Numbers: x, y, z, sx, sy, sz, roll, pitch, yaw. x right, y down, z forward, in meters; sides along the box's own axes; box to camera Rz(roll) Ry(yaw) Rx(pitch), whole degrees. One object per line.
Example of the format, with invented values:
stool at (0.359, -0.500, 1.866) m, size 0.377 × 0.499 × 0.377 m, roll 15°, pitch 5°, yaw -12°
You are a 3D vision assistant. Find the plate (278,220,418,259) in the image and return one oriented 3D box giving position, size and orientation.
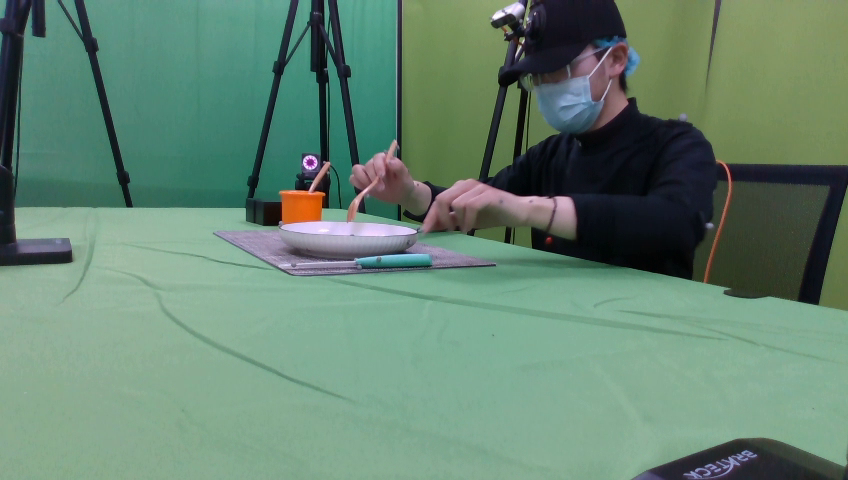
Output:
plate at (-0.114, -0.002, 0.914) m, size 0.209 × 0.038 × 0.209 m, roll 2°, pitch 8°, yaw 0°

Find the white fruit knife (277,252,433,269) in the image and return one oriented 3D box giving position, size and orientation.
white fruit knife at (-0.082, 0.029, 0.772) m, size 0.208 × 0.016 × 0.027 m, roll -3°, pitch -20°, yaw -22°

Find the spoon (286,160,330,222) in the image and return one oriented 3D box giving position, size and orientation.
spoon at (-0.233, -0.101, 1.252) m, size 0.041 × 0.193 × 0.022 m, roll 3°, pitch -38°, yaw 23°

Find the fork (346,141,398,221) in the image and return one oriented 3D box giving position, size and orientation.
fork at (-0.084, -0.104, 1.014) m, size 0.028 × 0.019 × 0.207 m, roll -31°, pitch 22°, yaw 45°
